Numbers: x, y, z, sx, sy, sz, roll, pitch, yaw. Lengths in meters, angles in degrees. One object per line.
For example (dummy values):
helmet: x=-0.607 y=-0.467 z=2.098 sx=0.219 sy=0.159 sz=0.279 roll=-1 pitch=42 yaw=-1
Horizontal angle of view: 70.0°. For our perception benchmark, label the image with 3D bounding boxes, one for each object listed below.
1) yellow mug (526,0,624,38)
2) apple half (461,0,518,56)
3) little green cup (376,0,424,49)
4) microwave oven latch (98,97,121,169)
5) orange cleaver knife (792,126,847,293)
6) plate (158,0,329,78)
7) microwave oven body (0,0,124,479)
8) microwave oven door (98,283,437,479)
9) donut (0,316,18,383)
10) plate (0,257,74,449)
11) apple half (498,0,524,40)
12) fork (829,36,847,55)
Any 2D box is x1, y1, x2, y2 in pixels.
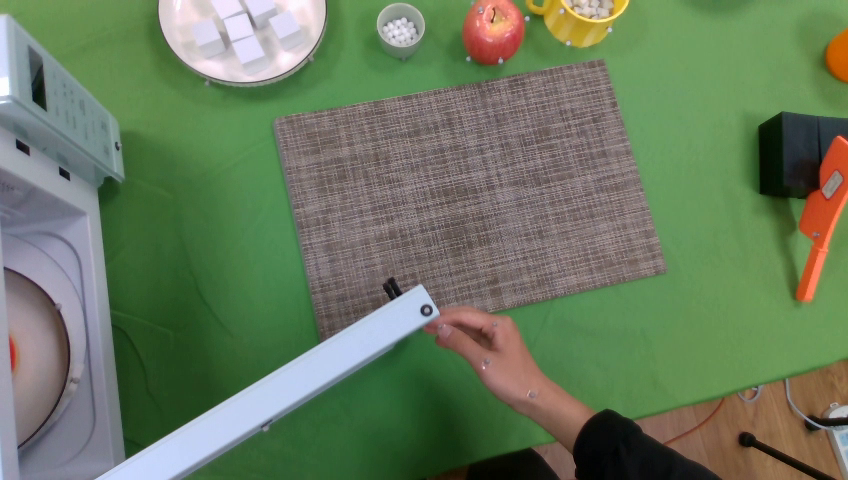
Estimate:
yellow mug: x=0.198 y=-0.329 z=0.804 sx=0.131 sy=0.064 sz=0.099 roll=-2 pitch=80 yaw=-5
apple half: x=0.076 y=-0.271 z=0.779 sx=0.053 sy=0.074 sz=0.081 roll=-39 pitch=89 yaw=-6
little green cup: x=-0.032 y=-0.281 z=0.787 sx=0.061 sy=0.039 sz=0.061 roll=1 pitch=80 yaw=-5
microwave oven latch: x=-0.375 y=-0.124 z=0.708 sx=0.030 sy=0.029 sz=0.079 roll=-8 pitch=82 yaw=-7
orange cleaver knife: x=0.504 y=-0.036 z=0.774 sx=0.012 sy=0.076 sz=0.212 roll=7 pitch=112 yaw=-2
plate: x=-0.225 y=-0.299 z=0.771 sx=0.208 sy=0.039 sz=0.207 roll=1 pitch=80 yaw=-5
microwave oven body: x=-0.479 y=0.054 z=0.570 sx=0.326 sy=0.260 sz=0.440 roll=-10 pitch=82 yaw=-8
microwave oven door: x=-0.154 y=0.151 z=0.581 sx=0.356 sy=0.244 sz=0.039 roll=-31 pitch=83 yaw=-10
donut: x=-0.460 y=0.113 z=0.603 sx=0.099 sy=0.048 sz=0.098 roll=1 pitch=82 yaw=-7
plate: x=-0.462 y=0.118 z=0.614 sx=0.209 sy=0.038 sz=0.208 roll=1 pitch=81 yaw=-6
apple half: x=0.106 y=-0.296 z=0.785 sx=0.033 sy=0.081 sz=0.081 roll=-40 pitch=86 yaw=-6
fork: x=0.658 y=-0.286 z=0.800 sx=0.206 sy=0.019 sz=0.028 roll=-12 pitch=76 yaw=37
